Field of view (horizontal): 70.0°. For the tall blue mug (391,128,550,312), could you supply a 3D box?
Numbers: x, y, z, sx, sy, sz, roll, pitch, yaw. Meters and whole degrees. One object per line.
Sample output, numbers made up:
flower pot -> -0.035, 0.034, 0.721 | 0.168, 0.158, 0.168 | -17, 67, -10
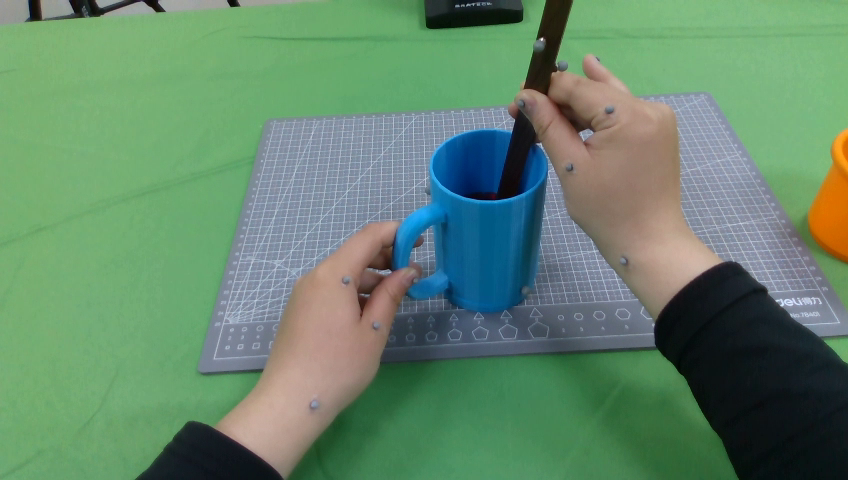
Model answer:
tall blue mug -> 0.036, -0.002, 0.413 | 0.077, 0.109, 0.107 | 21, 51, 21

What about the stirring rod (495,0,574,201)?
stirring rod -> 0.064, -0.075, 0.373 | 0.014, 0.177, 0.006 | 25, 57, 12
